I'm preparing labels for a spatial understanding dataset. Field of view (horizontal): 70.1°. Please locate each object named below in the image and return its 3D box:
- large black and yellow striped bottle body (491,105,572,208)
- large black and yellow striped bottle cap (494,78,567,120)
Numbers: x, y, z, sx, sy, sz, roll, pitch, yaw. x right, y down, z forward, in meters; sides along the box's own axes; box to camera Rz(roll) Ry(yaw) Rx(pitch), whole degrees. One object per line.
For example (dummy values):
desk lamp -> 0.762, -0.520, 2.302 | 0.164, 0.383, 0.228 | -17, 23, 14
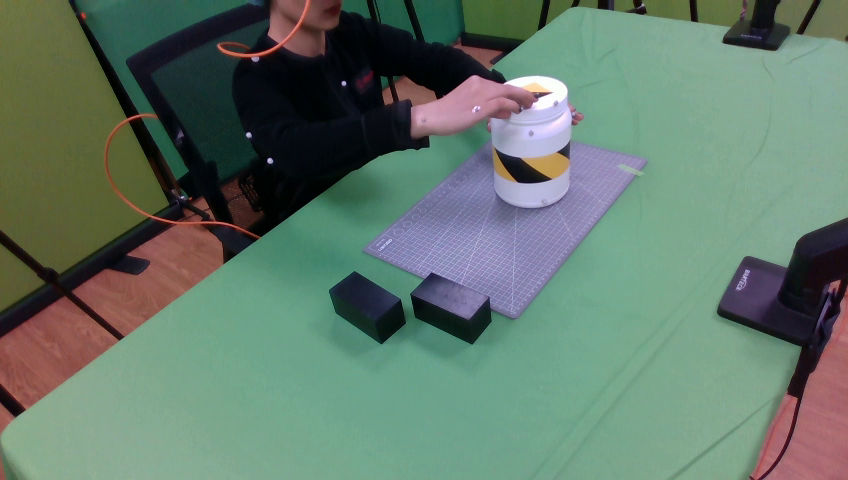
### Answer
large black and yellow striped bottle body -> 0.179, -0.160, 1.008 | 0.131, 0.185, 0.130 | -5, 40, 5
large black and yellow striped bottle cap -> 0.168, -0.224, 0.954 | 0.115, 0.019, 0.114 | -4, 39, 4
